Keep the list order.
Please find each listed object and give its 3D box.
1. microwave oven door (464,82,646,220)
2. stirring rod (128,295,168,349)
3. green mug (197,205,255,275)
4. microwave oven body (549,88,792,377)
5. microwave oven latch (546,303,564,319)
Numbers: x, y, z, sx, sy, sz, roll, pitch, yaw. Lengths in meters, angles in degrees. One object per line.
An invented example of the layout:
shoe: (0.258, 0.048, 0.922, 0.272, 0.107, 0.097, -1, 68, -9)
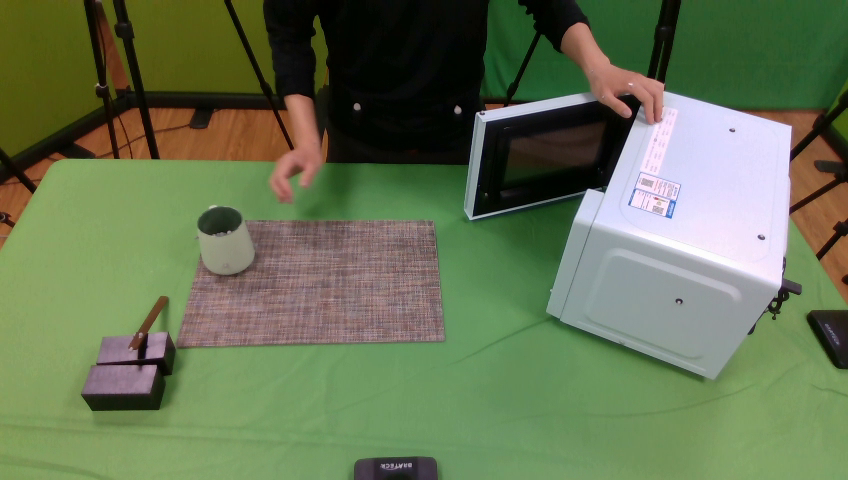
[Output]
microwave oven door: (0.258, -0.176, 1.208, 0.356, 0.245, 0.039, -14, 48, -16)
stirring rod: (-0.451, 0.131, 0.996, 0.014, 0.006, 0.175, 9, 20, -10)
green mug: (-0.370, -0.008, 1.114, 0.092, 0.105, 0.124, -19, 50, -20)
microwave oven body: (0.456, -0.028, 1.088, 0.325, 0.261, 0.440, 20, 47, 16)
microwave oven latch: (0.242, 0.102, 1.081, 0.030, 0.029, 0.079, 21, 48, 17)
